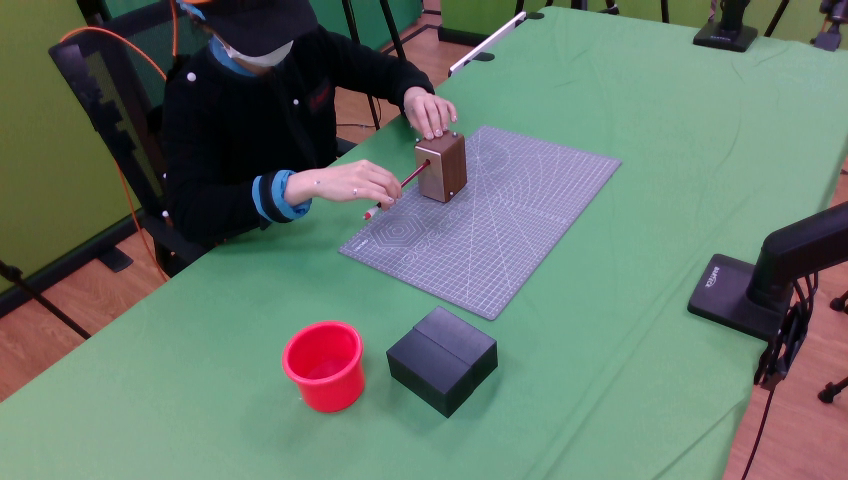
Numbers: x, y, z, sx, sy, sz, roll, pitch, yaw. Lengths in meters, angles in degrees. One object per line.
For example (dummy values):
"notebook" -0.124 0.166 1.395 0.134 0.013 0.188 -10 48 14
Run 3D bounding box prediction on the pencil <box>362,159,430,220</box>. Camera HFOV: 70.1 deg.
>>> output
"pencil" -0.034 -0.091 0.972 0.012 0.012 0.194 23 51 31

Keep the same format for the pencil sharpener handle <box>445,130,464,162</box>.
"pencil sharpener handle" 0.059 -0.171 1.070 0.036 0.068 0.031 26 50 25

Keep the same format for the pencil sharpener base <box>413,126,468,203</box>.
"pencil sharpener base" 0.032 -0.132 1.047 0.061 0.107 0.077 21 48 30
